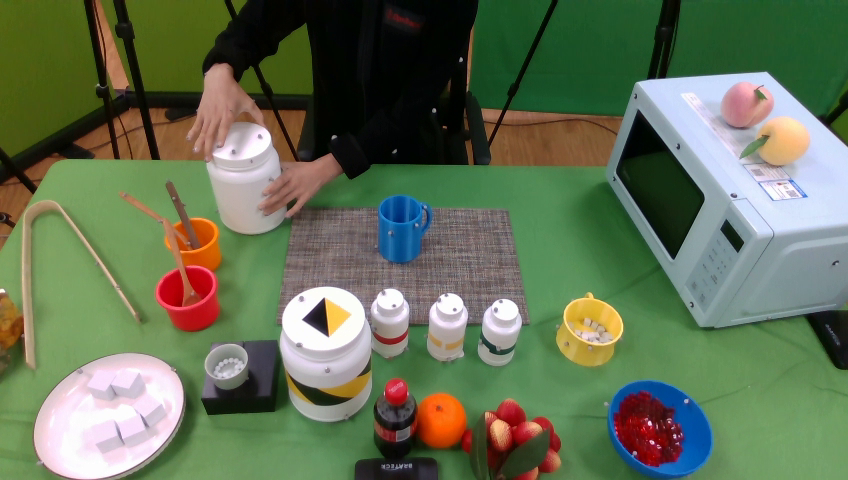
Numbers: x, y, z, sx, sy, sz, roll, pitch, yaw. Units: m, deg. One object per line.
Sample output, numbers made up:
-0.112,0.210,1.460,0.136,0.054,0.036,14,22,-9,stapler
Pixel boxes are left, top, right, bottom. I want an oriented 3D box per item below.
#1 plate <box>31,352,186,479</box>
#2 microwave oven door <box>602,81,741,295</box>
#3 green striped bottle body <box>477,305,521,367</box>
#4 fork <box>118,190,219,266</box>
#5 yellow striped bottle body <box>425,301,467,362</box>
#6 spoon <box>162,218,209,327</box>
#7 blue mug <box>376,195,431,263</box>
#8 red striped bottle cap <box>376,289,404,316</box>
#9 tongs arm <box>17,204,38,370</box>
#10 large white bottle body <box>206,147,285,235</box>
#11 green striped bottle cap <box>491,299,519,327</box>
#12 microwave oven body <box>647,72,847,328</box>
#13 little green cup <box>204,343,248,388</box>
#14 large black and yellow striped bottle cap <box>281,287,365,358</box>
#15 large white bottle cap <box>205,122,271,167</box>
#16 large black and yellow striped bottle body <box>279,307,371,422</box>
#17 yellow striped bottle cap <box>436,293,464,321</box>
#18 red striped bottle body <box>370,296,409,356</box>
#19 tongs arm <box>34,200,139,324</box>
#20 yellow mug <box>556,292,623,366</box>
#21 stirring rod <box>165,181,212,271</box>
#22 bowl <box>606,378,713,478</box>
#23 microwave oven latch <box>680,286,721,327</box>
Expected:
-0.459,0.262,0.898,0.209,0.038,0.208,2,46,-2,plate
0.456,-0.107,1.162,0.039,0.245,0.353,-6,47,-11,microwave oven door
0.124,0.151,0.995,0.063,0.120,0.063,2,46,-2,green striped bottle body
-0.459,-0.020,1.092,0.208,0.018,0.028,44,44,-24,fork
0.037,0.142,0.996,0.063,0.121,0.062,3,46,-3,yellow striped bottle body
-0.409,0.054,1.029,0.041,0.021,0.194,-17,94,-15,spoon
-0.035,-0.027,1.159,0.116,0.106,0.082,-24,53,-25,blue mug
-0.055,0.098,0.959,0.044,0.018,0.044,0,48,1,red striped bottle cap
-0.698,0.069,1.068,0.028,0.028,0.385,-20,50,-13,tongs arm
-0.344,-0.116,1.169,0.131,0.185,0.130,2,46,-2,large white bottle body
0.128,0.115,0.958,0.044,0.020,0.044,1,46,-1,green striped bottle cap
0.607,-0.089,1.164,0.326,0.261,0.438,-7,46,-10,microwave oven body
-0.294,0.190,0.909,0.061,0.039,0.061,1,48,0,little green cup
-0.141,0.112,0.847,0.115,0.019,0.114,5,45,-4,large black and yellow striped bottle cap
-0.339,-0.175,1.105,0.115,0.018,0.114,3,47,-3,large white bottle cap
-0.145,0.173,0.907,0.131,0.185,0.130,2,46,-2,large black and yellow striped bottle body
0.041,0.106,0.959,0.044,0.019,0.044,-1,49,1,yellow striped bottle cap
-0.058,0.134,0.997,0.063,0.120,0.062,4,47,-4,red striped bottle body
-0.622,0.034,1.105,0.051,0.026,0.382,-32,56,-26,tongs arm
0.285,0.145,1.051,0.100,0.064,0.130,7,45,3,yellow mug
-0.430,-0.025,1.107,0.014,0.006,0.176,-25,94,-20,stirring rod
0.340,0.292,0.906,0.151,0.077,0.150,2,46,-2,bowl
0.494,0.119,1.087,0.030,0.029,0.078,-6,46,-10,microwave oven latch
